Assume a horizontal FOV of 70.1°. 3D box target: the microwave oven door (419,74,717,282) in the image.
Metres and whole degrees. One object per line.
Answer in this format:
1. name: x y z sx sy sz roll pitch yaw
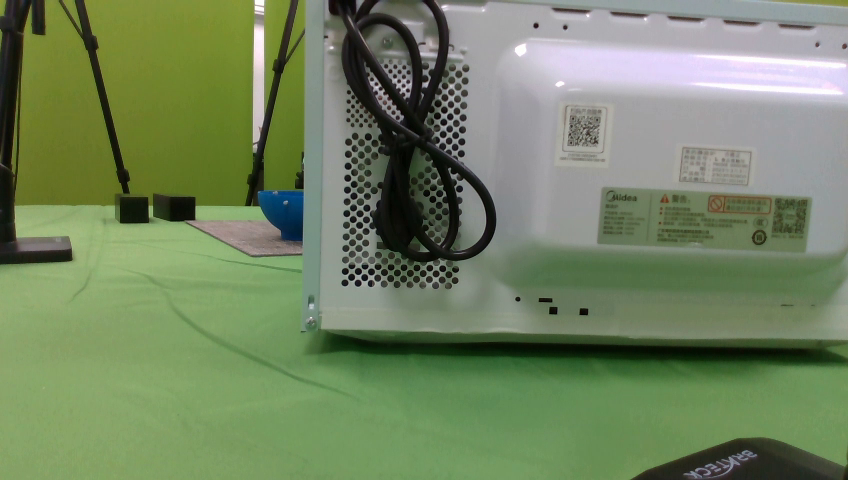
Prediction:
1. microwave oven door: 0.168 -0.087 0.774 0.355 0.243 0.039 5 8 22

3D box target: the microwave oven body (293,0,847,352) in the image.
1. microwave oven body: 0.122 -0.055 0.550 0.442 0.260 0.325 3 7 -5

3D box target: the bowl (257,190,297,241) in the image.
1. bowl: -0.206 -0.041 1.027 0.151 0.077 0.151 3 8 0

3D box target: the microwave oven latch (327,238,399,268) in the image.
1. microwave oven latch: -0.069 0.015 0.694 0.079 0.029 0.030 3 7 -3
